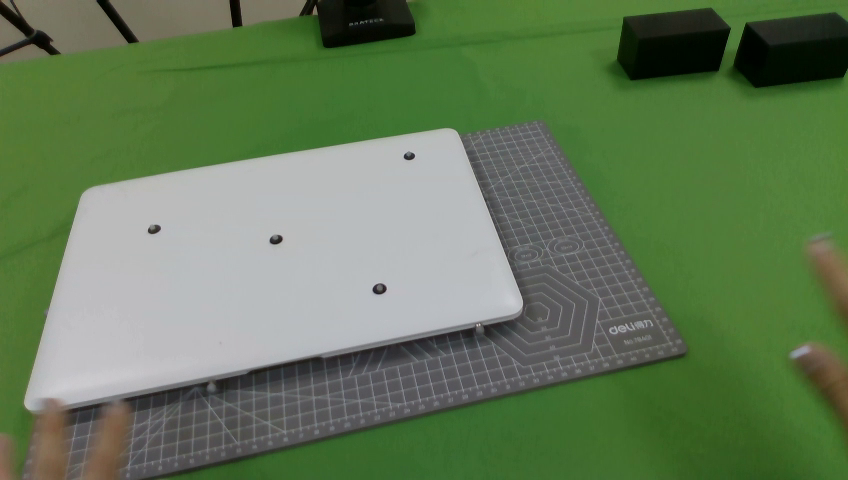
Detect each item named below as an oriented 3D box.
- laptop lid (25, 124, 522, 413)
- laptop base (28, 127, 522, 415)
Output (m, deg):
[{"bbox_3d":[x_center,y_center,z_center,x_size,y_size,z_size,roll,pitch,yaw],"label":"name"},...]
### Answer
[{"bbox_3d":[-0.120,0.001,0.496,0.357,0.013,0.239,-10,48,-4],"label":"laptop lid"},{"bbox_3d":[-0.120,0.008,0.506,0.355,0.023,0.233,-11,49,-5],"label":"laptop base"}]
